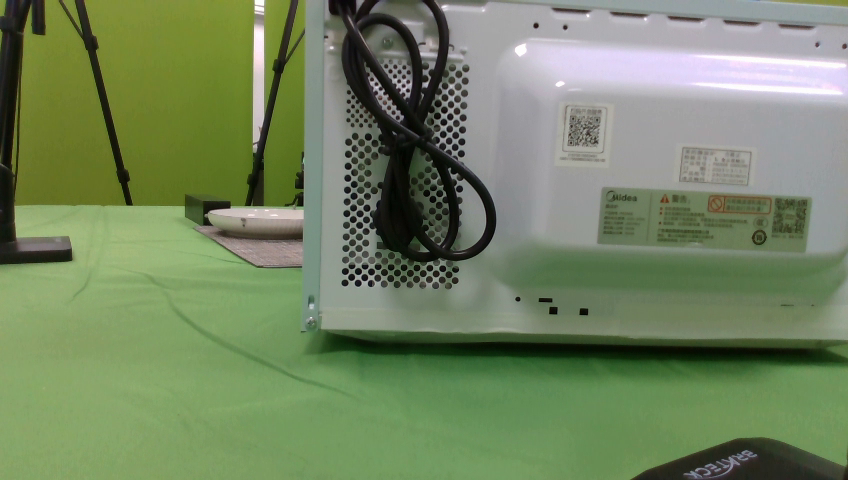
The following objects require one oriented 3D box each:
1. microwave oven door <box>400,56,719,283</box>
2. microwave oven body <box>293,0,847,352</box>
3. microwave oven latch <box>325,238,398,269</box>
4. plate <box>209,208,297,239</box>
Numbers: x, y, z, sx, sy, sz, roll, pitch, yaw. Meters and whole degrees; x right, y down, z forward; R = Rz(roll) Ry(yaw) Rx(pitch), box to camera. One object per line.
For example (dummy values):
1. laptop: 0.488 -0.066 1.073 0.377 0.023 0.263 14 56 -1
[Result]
1. microwave oven door: 0.155 -0.077 0.698 0.356 0.243 0.039 2 8 -5
2. microwave oven body: 0.122 -0.055 0.550 0.442 0.260 0.325 3 7 -5
3. microwave oven latch: -0.070 0.015 0.692 0.079 0.029 0.030 4 7 2
4. plate: -0.271 -0.029 1.074 0.208 0.039 0.207 3 7 0
